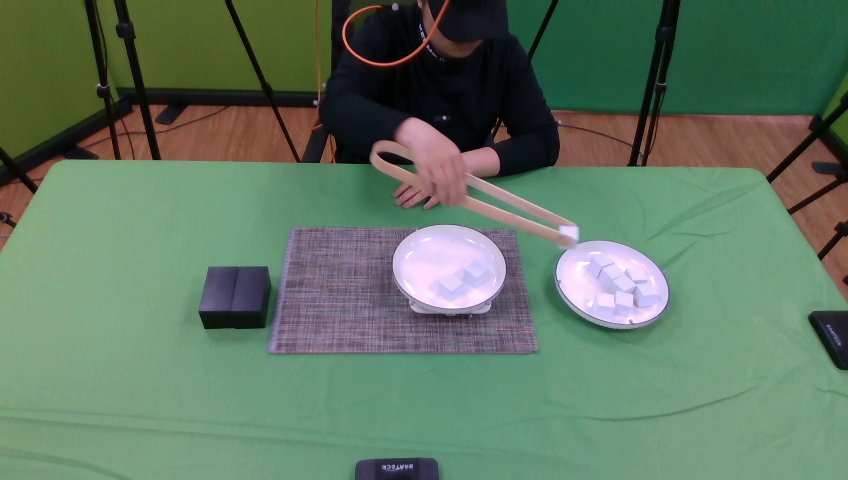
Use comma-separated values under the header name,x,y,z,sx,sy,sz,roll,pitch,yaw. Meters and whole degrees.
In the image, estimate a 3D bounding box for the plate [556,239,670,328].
name,x,y,z,sx,sy,sz,roll,pitch,yaw
plate,0.347,0.083,1.130,0.209,0.038,0.208,2,47,-2

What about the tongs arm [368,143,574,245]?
name,x,y,z,sx,sy,sz,roll,pitch,yaw
tongs arm,0.083,-0.080,1.061,0.385,0.026,0.050,20,50,-6

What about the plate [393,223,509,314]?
name,x,y,z,sx,sy,sz,roll,pitch,yaw
plate,0.048,0.053,1.091,0.208,0.039,0.206,1,46,-1

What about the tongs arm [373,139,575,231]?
name,x,y,z,sx,sy,sz,roll,pitch,yaw
tongs arm,0.089,-0.096,1.077,0.388,0.028,0.028,23,53,-3

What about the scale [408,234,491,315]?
name,x,y,z,sx,sy,sz,roll,pitch,yaw
scale,0.045,0.055,1.135,0.149,0.032,0.199,1,46,-3
